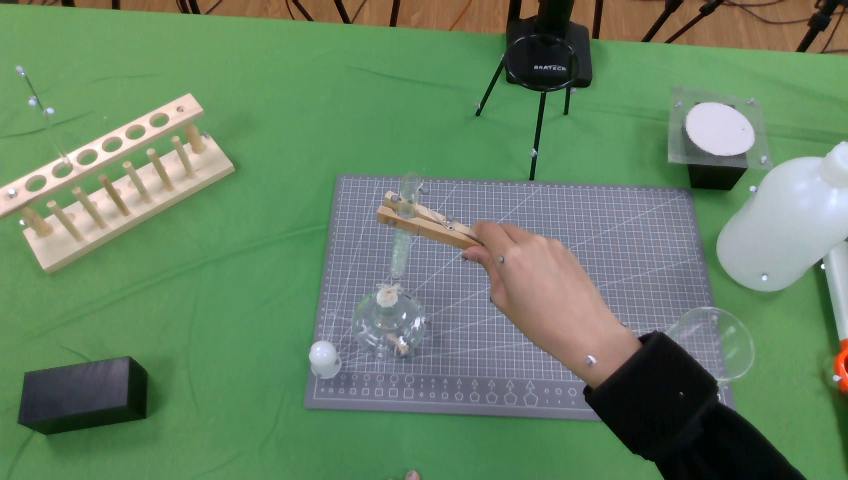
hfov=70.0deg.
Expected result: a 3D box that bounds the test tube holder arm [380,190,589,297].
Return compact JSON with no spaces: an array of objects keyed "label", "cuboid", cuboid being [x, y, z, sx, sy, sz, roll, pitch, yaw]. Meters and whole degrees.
[{"label":"test tube holder arm","cuboid":[0.046,0.002,0.478,0.178,0.015,0.013,24,63,7]}]

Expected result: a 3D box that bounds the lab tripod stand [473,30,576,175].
[{"label":"lab tripod stand","cuboid":[0.132,-0.176,0.755,0.148,0.132,0.147,1,61,-2]}]

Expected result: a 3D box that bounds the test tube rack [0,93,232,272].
[{"label":"test tube rack","cuboid":[-0.359,-0.069,0.709,0.242,0.086,0.066,-34,67,-19]}]

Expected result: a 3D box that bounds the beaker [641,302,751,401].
[{"label":"beaker","cuboid":[0.265,0.116,0.610,0.084,0.101,0.073,7,60,4]}]

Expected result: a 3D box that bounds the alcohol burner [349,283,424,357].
[{"label":"alcohol burner","cuboid":[-0.038,0.075,0.617,0.078,0.120,0.077,2,59,-2]}]

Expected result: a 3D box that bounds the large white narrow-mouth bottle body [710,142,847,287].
[{"label":"large white narrow-mouth bottle body","cuboid":[0.391,-0.032,0.645,0.102,0.196,0.101,0,60,0]}]

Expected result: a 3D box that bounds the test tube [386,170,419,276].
[{"label":"test tube","cuboid":[-0.020,-0.009,0.506,0.017,0.151,0.017,4,59,-6]}]

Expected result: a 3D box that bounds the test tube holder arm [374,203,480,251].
[{"label":"test tube holder arm","cuboid":[0.002,-0.010,0.480,0.088,0.015,0.010,17,62,4]}]

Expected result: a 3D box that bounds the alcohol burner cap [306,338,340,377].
[{"label":"alcohol burner cap","cuboid":[-0.107,0.121,0.631,0.034,0.048,0.033,0,62,1]}]

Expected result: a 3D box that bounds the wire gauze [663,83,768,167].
[{"label":"wire gauze","cuboid":[0.360,-0.144,0.758,0.121,0.011,0.124,9,60,4]}]

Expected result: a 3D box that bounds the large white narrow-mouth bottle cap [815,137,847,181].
[{"label":"large white narrow-mouth bottle cap","cuboid":[0.392,-0.077,0.571,0.038,0.024,0.037,1,60,-1]}]

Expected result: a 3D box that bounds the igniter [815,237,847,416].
[{"label":"igniter","cuboid":[0.465,0.116,0.659,0.057,0.025,0.274,12,60,-6]}]

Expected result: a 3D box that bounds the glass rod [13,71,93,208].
[{"label":"glass rod","cuboid":[-0.392,-0.097,0.649,0.008,0.201,0.008,3,52,-3]}]
